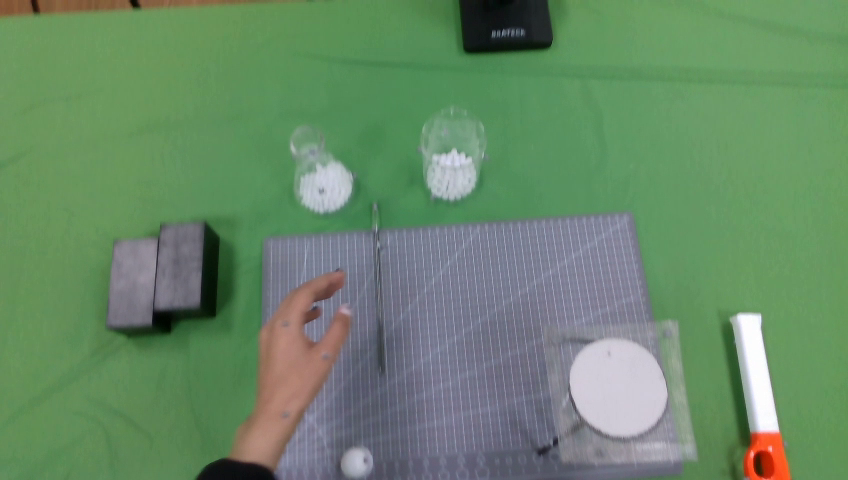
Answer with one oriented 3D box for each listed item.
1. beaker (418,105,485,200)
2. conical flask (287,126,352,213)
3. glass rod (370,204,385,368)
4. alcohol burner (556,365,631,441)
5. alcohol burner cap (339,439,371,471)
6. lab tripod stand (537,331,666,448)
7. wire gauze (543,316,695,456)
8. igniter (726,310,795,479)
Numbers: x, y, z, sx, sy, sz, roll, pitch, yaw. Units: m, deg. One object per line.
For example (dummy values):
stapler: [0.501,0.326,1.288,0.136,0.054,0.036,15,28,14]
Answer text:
beaker: [0.030,-0.099,0.715,0.074,0.101,0.083,-2,70,-1]
conical flask: [-0.127,-0.085,0.697,0.075,0.122,0.075,0,71,0]
glass rod: [-0.055,0.050,0.708,0.008,0.008,0.198,-4,71,-2]
alcohol burner: [0.176,0.164,0.616,0.078,0.120,0.077,-1,71,2]
alcohol burner cap: [-0.073,0.225,0.632,0.034,0.048,0.033,0,72,-1]
lab tripod stand: [0.174,0.154,0.608,0.148,0.132,0.147,0,73,0]
wire gauze: [0.174,0.130,0.545,0.125,0.011,0.120,-2,73,0]
igniter: [0.362,0.211,0.649,0.057,0.025,0.274,4,71,-10]
